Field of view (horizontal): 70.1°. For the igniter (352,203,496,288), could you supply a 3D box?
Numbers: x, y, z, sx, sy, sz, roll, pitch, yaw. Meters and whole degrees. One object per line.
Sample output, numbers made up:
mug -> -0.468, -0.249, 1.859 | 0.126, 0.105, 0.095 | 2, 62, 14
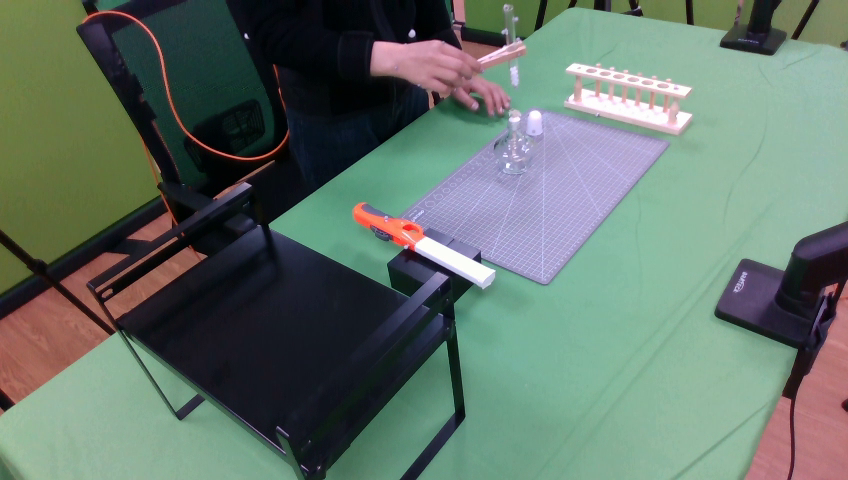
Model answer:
igniter -> -0.011, 0.002, 0.899 | 0.274, 0.025, 0.057 | 27, 45, 33

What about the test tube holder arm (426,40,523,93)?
test tube holder arm -> 0.086, -0.289, 1.008 | 0.178, 0.015, 0.013 | -26, 51, -5

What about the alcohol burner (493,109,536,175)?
alcohol burner -> 0.163, -0.179, 1.087 | 0.078, 0.119, 0.077 | -5, 38, 4

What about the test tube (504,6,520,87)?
test tube -> 0.147, -0.318, 1.006 | 0.017, 0.151, 0.017 | -7, 50, 9

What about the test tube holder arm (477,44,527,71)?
test tube holder arm -> 0.129, -0.303, 1.007 | 0.088, 0.015, 0.010 | -19, 51, 0

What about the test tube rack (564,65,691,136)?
test tube rack -> 0.404, -0.288, 1.204 | 0.240, 0.085, 0.067 | 24, 49, 32

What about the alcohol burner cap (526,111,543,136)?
alcohol burner cap -> 0.219, -0.232, 1.196 | 0.034, 0.048, 0.033 | -4, 41, 4
